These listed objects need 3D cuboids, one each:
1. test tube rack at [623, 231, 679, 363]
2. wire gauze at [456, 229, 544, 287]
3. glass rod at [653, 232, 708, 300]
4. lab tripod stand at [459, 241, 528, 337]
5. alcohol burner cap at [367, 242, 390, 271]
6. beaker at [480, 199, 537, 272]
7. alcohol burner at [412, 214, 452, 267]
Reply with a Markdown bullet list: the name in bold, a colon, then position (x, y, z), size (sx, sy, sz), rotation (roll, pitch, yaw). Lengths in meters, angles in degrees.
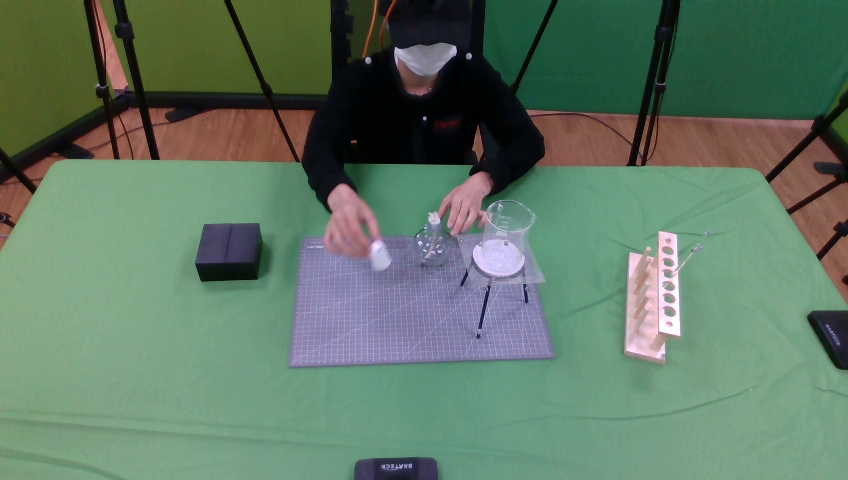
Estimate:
- **test tube rack**: position (0.410, 0.094, 1.096), size (0.066, 0.085, 0.241), rotation (13, 46, 9)
- **wire gauze**: position (0.125, 0.030, 1.008), size (0.125, 0.011, 0.120), rotation (-2, 48, -11)
- **glass rod**: position (0.441, 0.049, 1.050), size (0.008, 0.200, 0.008), rotation (4, 52, -5)
- **lab tripod stand**: position (0.122, 0.075, 1.054), size (0.148, 0.132, 0.147), rotation (3, 44, -2)
- **alcohol burner cap**: position (-0.078, 0.025, 1.004), size (0.034, 0.048, 0.033), rotation (-8, 41, 7)
- **beaker**: position (0.132, -0.004, 0.973), size (0.084, 0.101, 0.073), rotation (-4, 47, -9)
- **alcohol burner**: position (0.016, -0.006, 1.139), size (0.078, 0.119, 0.077), rotation (2, 48, -2)
